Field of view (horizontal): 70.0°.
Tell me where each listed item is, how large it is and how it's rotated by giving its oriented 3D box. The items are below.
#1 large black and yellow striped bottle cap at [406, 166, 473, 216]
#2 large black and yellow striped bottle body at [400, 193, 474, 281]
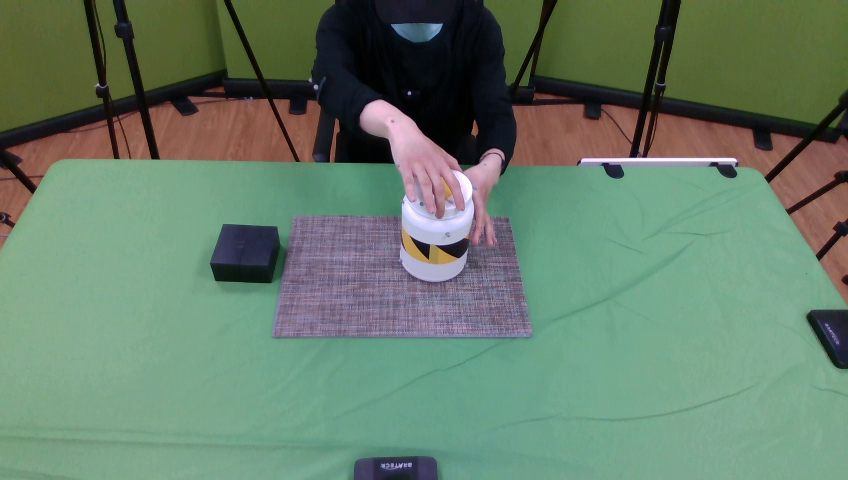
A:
[{"bbox_3d":[0.026,-0.087,1.046,0.115,0.019,0.114,3,46,-3],"label":"large black and yellow striped bottle cap"},{"bbox_3d":[0.022,-0.028,1.106,0.131,0.185,0.130,2,46,-2],"label":"large black and yellow striped bottle body"}]
